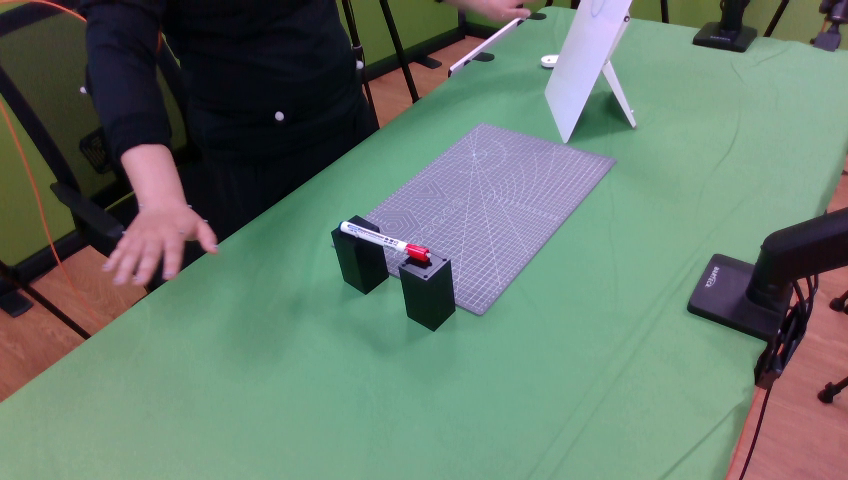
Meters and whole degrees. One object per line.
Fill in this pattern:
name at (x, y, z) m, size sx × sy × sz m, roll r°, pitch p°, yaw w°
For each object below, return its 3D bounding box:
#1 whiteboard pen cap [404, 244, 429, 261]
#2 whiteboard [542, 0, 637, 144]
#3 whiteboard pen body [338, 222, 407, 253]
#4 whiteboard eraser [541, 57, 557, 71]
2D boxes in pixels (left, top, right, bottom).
whiteboard pen cap at (-0.010, 0.015, 0.801) m, size 0.032 × 0.017 × 0.017 m, roll 18°, pitch 46°, yaw 29°
whiteboard at (0.366, -0.351, 1.160) m, size 0.144 × 0.305 × 0.216 m, roll 10°, pitch 39°, yaw -10°
whiteboard pen body at (-0.061, -0.001, 0.828) m, size 0.139 × 0.017 × 0.017 m, roll 18°, pitch 46°, yaw 28°
whiteboard eraser at (0.323, -0.412, 1.407) m, size 0.101 × 0.019 × 0.041 m, roll 1°, pitch 42°, yaw 11°
